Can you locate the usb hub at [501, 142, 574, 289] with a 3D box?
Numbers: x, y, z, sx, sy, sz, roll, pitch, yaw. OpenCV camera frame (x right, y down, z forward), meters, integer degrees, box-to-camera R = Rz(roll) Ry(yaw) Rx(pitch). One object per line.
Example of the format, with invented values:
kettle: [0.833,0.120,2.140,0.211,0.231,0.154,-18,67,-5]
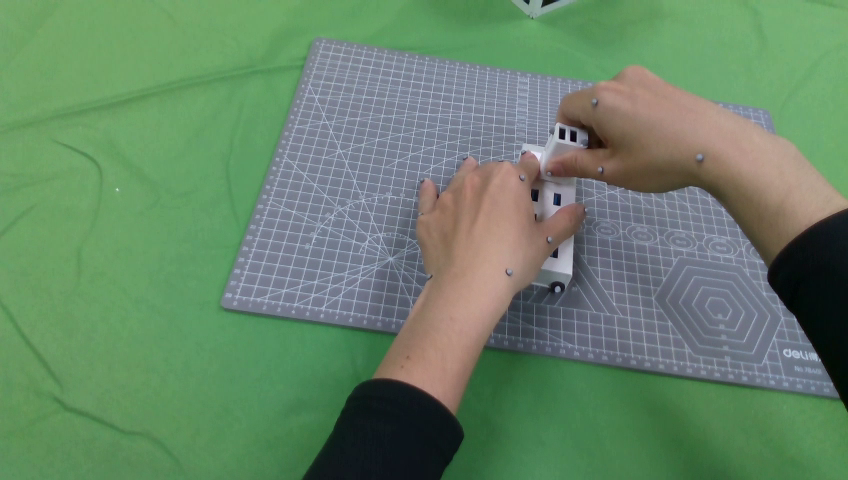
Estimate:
usb hub: [0.091,-0.023,0.479,0.049,0.025,0.124,10,54,2]

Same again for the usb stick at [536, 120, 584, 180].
usb stick: [0.103,-0.066,0.472,0.027,0.059,0.021,7,63,0]
